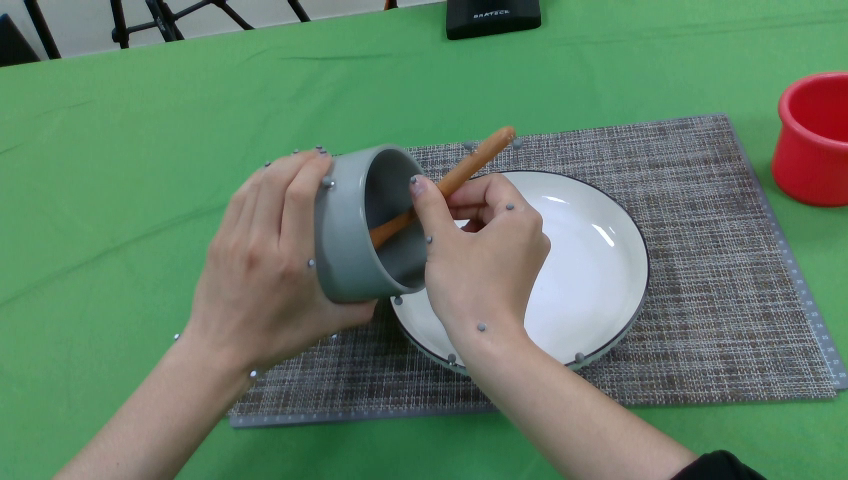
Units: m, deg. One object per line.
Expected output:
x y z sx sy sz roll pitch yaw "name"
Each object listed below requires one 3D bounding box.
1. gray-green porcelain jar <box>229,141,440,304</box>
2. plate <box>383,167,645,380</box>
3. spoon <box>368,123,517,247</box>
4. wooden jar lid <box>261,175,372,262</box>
-0.068 -0.008 0.443 0.126 0.107 0.105 -9 47 27 "gray-green porcelain jar"
0.070 0.025 0.495 0.207 0.039 0.205 -6 49 8 "plate"
-0.014 -0.019 0.416 0.194 0.022 0.041 -35 57 22 "spoon"
-0.102 -0.020 0.585 0.108 0.021 0.107 -6 48 7 "wooden jar lid"
